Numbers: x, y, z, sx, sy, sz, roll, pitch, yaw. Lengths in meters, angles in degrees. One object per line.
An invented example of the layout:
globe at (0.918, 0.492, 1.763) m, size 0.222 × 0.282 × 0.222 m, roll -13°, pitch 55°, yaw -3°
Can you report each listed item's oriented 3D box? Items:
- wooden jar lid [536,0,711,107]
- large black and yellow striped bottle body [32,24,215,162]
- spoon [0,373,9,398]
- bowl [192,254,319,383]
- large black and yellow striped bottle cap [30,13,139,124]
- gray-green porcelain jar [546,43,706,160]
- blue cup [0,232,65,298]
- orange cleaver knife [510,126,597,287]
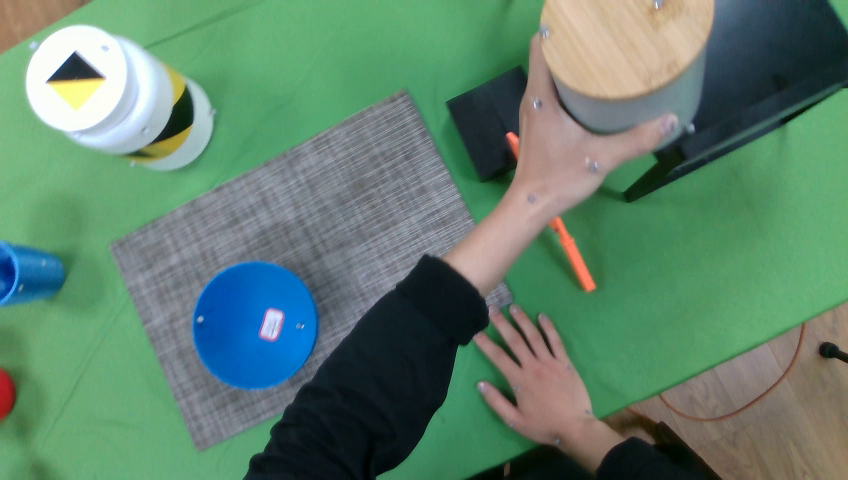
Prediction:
wooden jar lid at (0.128, -0.136, 0.394) m, size 0.108 × 0.021 × 0.108 m, roll -5°, pitch 78°, yaw 24°
large black and yellow striped bottle body at (-0.350, -0.174, 0.723) m, size 0.130 × 0.184 × 0.130 m, roll 0°, pitch 86°, yaw 7°
spoon at (-0.637, 0.206, 0.758) m, size 0.194 × 0.021 × 0.041 m, roll -10°, pitch 82°, yaw -37°
bowl at (-0.193, 0.093, 0.739) m, size 0.151 × 0.077 × 0.151 m, roll 0°, pitch 87°, yaw 7°
large black and yellow striped bottle cap at (-0.359, -0.181, 0.640) m, size 0.115 × 0.019 × 0.115 m, roll 0°, pitch 88°, yaw 8°
gray-green porcelain jar at (0.151, -0.124, 0.451) m, size 0.105 × 0.127 × 0.105 m, roll -5°, pitch 77°, yaw 21°
blue cup at (-0.520, 0.032, 0.774) m, size 0.092 × 0.100 × 0.092 m, roll 0°, pitch 87°, yaw 5°
orange cleaver knife at (0.151, -0.037, 0.706) m, size 0.012 × 0.076 × 0.213 m, roll -29°, pitch 113°, yaw 1°
